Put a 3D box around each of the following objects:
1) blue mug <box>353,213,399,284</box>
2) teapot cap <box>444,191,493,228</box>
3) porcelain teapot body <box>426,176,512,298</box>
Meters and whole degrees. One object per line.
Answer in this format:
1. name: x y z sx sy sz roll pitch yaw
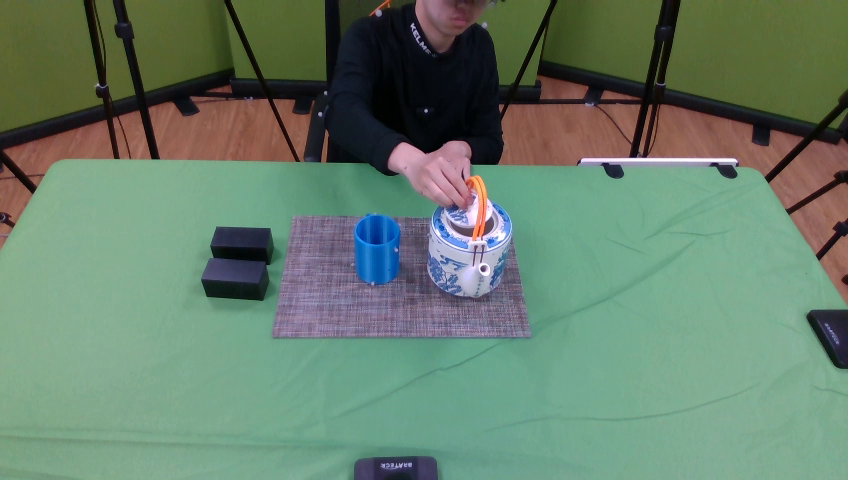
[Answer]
1. blue mug: -0.093 0.006 1.123 0.082 0.106 0.115 -11 48 -15
2. teapot cap: 0.076 -0.058 1.034 0.085 0.044 0.084 -1 48 1
3. porcelain teapot body: 0.085 0.009 1.051 0.145 0.226 0.204 -5 47 -9
